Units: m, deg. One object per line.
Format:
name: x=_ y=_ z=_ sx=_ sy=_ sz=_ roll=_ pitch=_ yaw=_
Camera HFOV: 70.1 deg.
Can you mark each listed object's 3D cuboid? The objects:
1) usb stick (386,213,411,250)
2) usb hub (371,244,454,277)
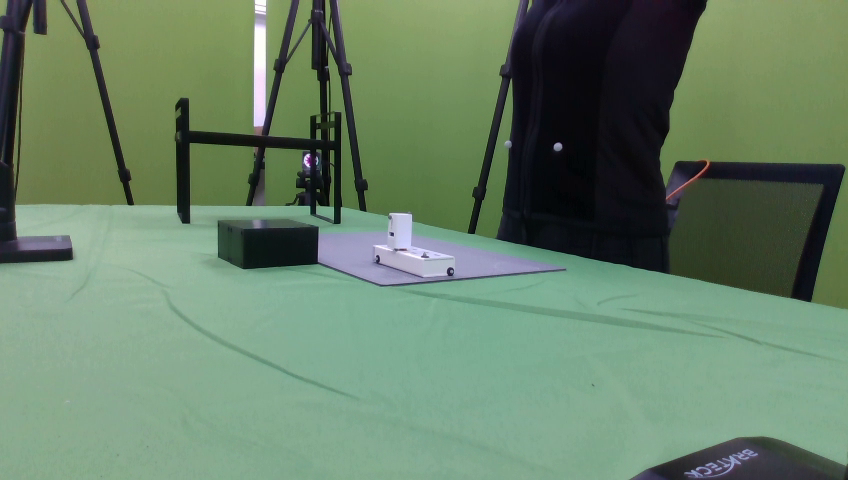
usb stick: x=-0.032 y=-0.005 z=0.771 sx=0.027 sy=0.059 sz=0.021 roll=-4 pitch=9 yaw=-33
usb hub: x=-0.018 y=0.024 z=0.777 sx=0.050 sy=0.025 sz=0.124 roll=-3 pitch=9 yaw=-35
